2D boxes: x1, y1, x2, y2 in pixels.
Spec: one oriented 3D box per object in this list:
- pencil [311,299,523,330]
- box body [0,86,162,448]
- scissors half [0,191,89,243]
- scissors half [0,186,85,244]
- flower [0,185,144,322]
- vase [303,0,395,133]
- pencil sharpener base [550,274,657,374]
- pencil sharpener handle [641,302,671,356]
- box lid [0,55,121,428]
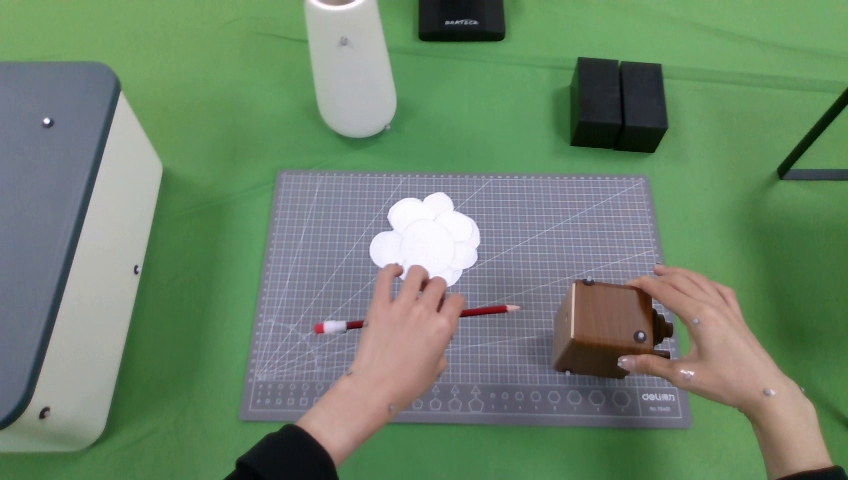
[{"bbox_3d":[-0.005,0.066,0.550,0.194,0.012,0.012,-6,63,-4],"label":"pencil"},{"bbox_3d":[-0.431,0.015,0.595,0.254,0.161,0.361,0,63,0],"label":"box body"},{"bbox_3d":[-0.469,-0.016,0.678,0.175,0.040,0.012,-24,34,-14],"label":"scissors half"},{"bbox_3d":[-0.464,-0.005,0.686,0.175,0.040,0.012,-32,29,-7],"label":"scissors half"},{"bbox_3d":[-0.429,0.048,0.672,0.038,0.044,0.359,-8,37,32],"label":"flower"},{"bbox_3d":[-0.086,-0.213,0.690,0.098,0.201,0.097,0,62,1],"label":"vase"},{"bbox_3d":[0.166,0.082,0.573,0.076,0.108,0.061,6,64,4],"label":"pencil sharpener base"},{"bbox_3d":[0.216,0.085,0.556,0.030,0.068,0.035,6,50,4],"label":"pencil sharpener handle"},{"bbox_3d":[-0.431,-0.022,0.528,0.263,0.015,0.368,0,63,-2],"label":"box lid"}]
